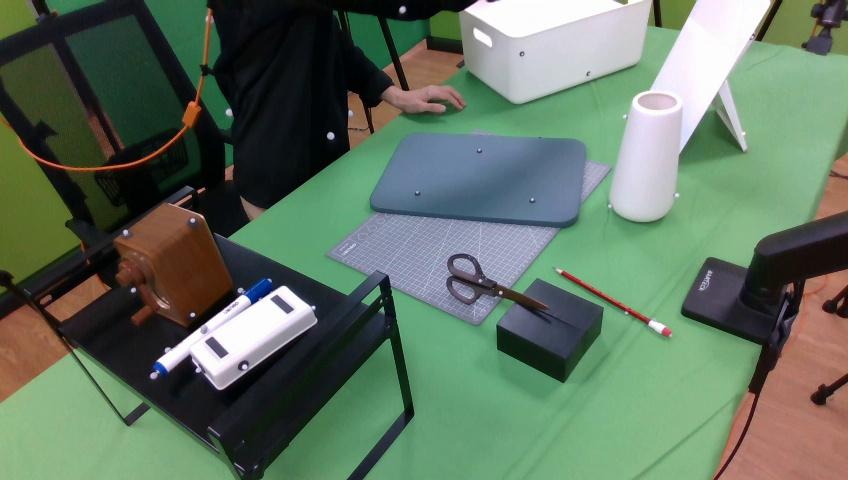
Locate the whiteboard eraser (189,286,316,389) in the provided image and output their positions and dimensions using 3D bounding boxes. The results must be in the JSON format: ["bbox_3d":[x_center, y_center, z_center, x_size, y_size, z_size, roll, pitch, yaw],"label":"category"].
[{"bbox_3d":[-0.166,0.096,0.593,0.113,0.042,0.055,-36,47,-29],"label":"whiteboard eraser"}]

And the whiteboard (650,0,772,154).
[{"bbox_3d":[0.543,-0.298,1.076,0.144,0.305,0.216,12,40,-7],"label":"whiteboard"}]

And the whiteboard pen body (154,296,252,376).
[{"bbox_3d":[-0.214,0.088,0.619,0.017,0.017,0.141,19,42,28],"label":"whiteboard pen body"}]

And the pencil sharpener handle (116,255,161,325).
[{"bbox_3d":[-0.286,0.050,0.594,0.035,0.068,0.031,7,41,35],"label":"pencil sharpener handle"}]

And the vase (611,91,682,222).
[{"bbox_3d":[0.348,-0.125,0.935,0.098,0.201,0.097,-3,40,3],"label":"vase"}]

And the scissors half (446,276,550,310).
[{"bbox_3d":[0.098,0.077,0.827,0.174,0.040,0.013,6,13,44],"label":"scissors half"}]

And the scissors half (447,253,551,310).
[{"bbox_3d":[0.098,0.058,0.821,0.173,0.040,0.013,27,32,36],"label":"scissors half"}]

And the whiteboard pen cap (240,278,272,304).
[{"bbox_3d":[-0.183,0.057,0.658,0.018,0.018,0.033,19,44,28],"label":"whiteboard pen cap"}]

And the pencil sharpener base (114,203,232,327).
[{"bbox_3d":[-0.262,0.029,0.635,0.061,0.107,0.077,18,47,26],"label":"pencil sharpener base"}]

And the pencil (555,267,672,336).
[{"bbox_3d":[0.260,0.082,0.851,0.012,0.012,0.192,-33,45,-27],"label":"pencil"}]

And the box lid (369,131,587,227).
[{"bbox_3d":[0.107,-0.120,1.107,0.370,0.015,0.263,5,42,14],"label":"box lid"}]

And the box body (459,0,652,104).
[{"bbox_3d":[0.291,-0.465,1.371,0.365,0.161,0.252,-22,42,-16],"label":"box body"}]
